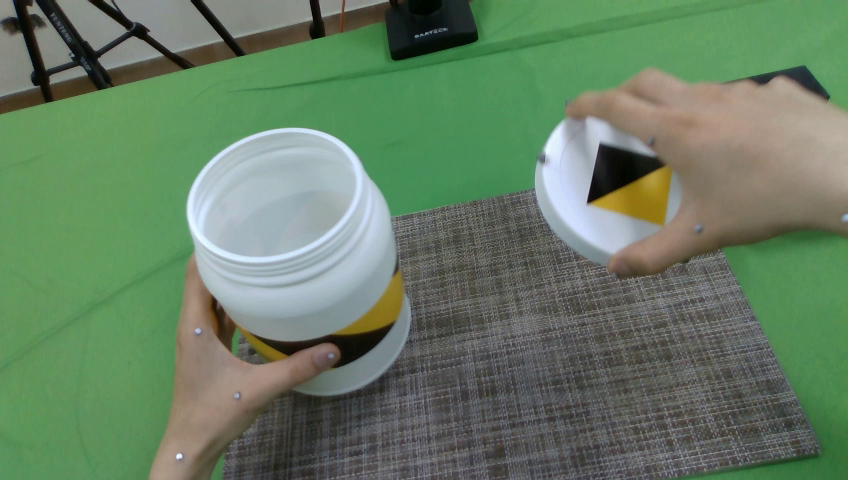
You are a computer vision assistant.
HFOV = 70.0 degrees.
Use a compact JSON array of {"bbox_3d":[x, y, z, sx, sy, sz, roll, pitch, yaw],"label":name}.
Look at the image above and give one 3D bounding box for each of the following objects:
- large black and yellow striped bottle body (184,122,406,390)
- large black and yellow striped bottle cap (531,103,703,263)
[{"bbox_3d":[-0.086,0.017,0.444,0.131,0.186,0.129,-2,55,4],"label":"large black and yellow striped bottle body"},{"bbox_3d":[0.129,-0.040,0.405,0.115,0.019,0.114,3,68,-6],"label":"large black and yellow striped bottle cap"}]
